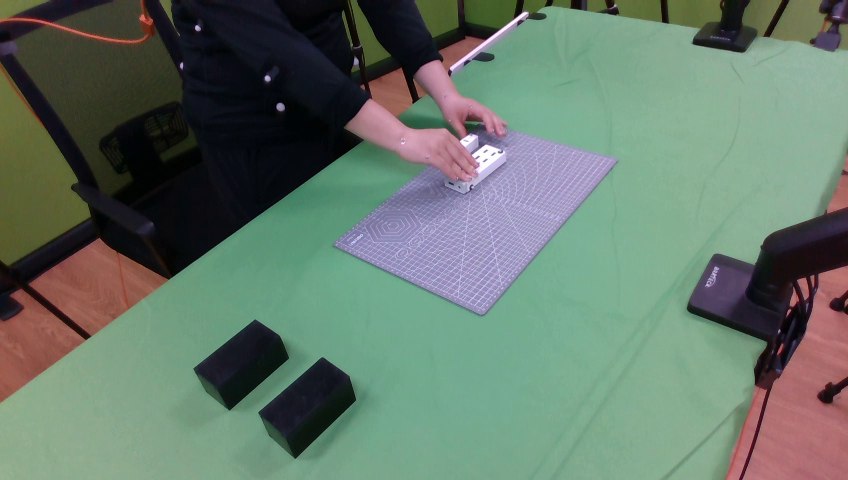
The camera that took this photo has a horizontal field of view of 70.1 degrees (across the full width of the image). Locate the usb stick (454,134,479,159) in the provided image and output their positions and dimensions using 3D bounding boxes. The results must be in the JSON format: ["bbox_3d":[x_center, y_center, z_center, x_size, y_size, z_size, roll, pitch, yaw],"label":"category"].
[{"bbox_3d":[0.079,-0.177,1.159,0.021,0.027,0.059,24,53,33],"label":"usb stick"}]

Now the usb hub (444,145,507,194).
[{"bbox_3d":[0.095,-0.129,1.102,0.049,0.025,0.125,28,52,33],"label":"usb hub"}]
